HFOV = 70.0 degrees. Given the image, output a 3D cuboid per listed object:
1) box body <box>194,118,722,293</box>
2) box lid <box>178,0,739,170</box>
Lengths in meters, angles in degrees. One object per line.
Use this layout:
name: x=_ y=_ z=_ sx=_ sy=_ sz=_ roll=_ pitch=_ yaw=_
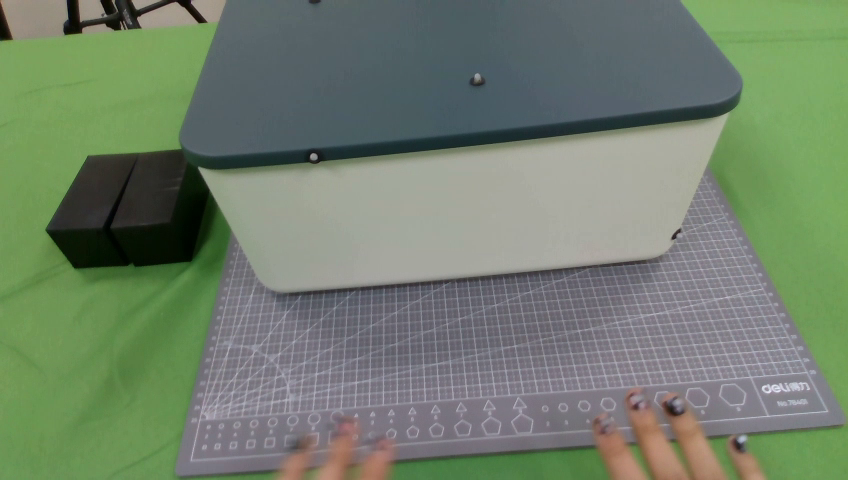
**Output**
box body: x=0.022 y=-0.103 z=0.521 sx=0.364 sy=0.162 sz=0.251 roll=-5 pitch=47 yaw=0
box lid: x=0.014 y=-0.154 z=0.466 sx=0.372 sy=0.015 sz=0.260 roll=-5 pitch=46 yaw=0
